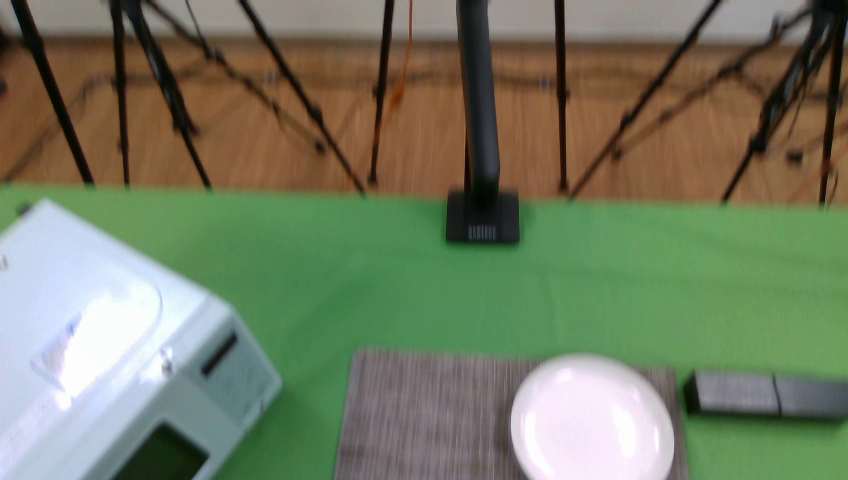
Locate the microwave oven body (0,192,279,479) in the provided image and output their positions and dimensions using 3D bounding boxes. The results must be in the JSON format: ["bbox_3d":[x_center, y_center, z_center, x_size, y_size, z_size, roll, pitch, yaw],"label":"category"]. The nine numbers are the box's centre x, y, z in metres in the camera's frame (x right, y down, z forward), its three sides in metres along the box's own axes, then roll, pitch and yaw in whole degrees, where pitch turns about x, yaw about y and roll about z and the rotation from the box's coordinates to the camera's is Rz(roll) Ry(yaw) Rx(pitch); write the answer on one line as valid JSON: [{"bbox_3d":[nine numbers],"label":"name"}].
[{"bbox_3d":[-0.444,0.221,0.693,0.324,0.262,0.440,26,63,17],"label":"microwave oven body"}]

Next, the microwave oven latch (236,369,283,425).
[{"bbox_3d":[-0.222,0.205,0.811,0.030,0.030,0.079,28,63,18],"label":"microwave oven latch"}]

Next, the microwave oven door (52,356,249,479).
[{"bbox_3d":[-0.341,0.309,0.627,0.039,0.246,0.354,26,62,18],"label":"microwave oven door"}]

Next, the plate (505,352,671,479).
[{"bbox_3d":[0.209,0.249,0.785,0.207,0.039,0.205,-1,58,1],"label":"plate"}]
